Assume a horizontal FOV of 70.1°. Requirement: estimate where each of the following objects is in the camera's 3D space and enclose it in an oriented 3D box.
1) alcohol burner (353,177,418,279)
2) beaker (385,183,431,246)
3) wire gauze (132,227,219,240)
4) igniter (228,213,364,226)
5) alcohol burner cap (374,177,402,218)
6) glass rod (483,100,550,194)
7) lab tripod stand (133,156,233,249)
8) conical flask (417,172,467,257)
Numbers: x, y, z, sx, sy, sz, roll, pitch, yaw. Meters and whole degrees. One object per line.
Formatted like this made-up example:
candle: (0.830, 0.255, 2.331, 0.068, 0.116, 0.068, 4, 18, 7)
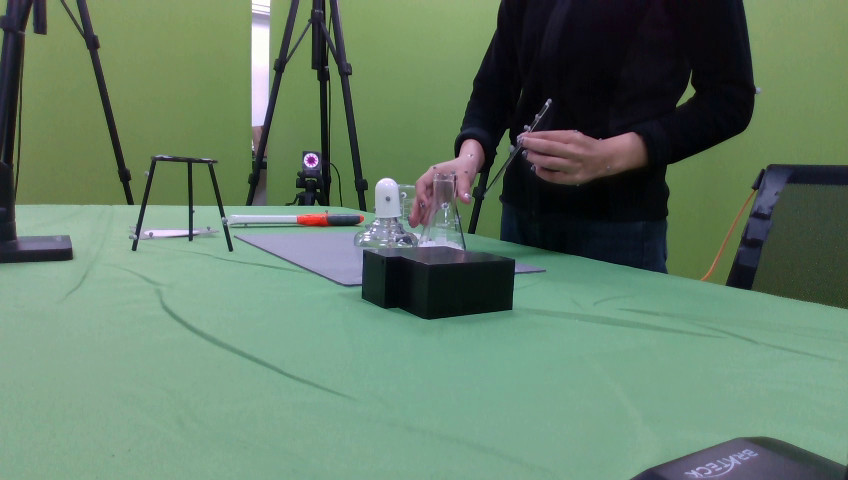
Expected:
alcohol burner: (-0.044, -0.014, 0.710, 0.078, 0.119, 0.078, 4, 9, 0)
beaker: (-0.031, -0.043, 1.000, 0.084, 0.100, 0.074, 3, 7, 15)
wire gauze: (-0.421, -0.014, 1.024, 0.122, 0.011, 0.124, -2, 7, -34)
igniter: (-0.252, -0.042, 1.227, 0.278, 0.025, 0.057, -3, -2, -32)
alcohol burner cap: (-0.044, -0.049, 0.704, 0.034, 0.048, 0.034, -5, 10, 1)
glass rod: (0.140, -0.140, 0.940, 0.008, 0.199, 0.008, 17, 45, -17)
lab tripod stand: (-0.342, -0.054, 0.878, 0.148, 0.131, 0.148, 4, 6, 0)
conical flask: (0.029, -0.039, 0.897, 0.075, 0.122, 0.075, 3, 8, 0)
